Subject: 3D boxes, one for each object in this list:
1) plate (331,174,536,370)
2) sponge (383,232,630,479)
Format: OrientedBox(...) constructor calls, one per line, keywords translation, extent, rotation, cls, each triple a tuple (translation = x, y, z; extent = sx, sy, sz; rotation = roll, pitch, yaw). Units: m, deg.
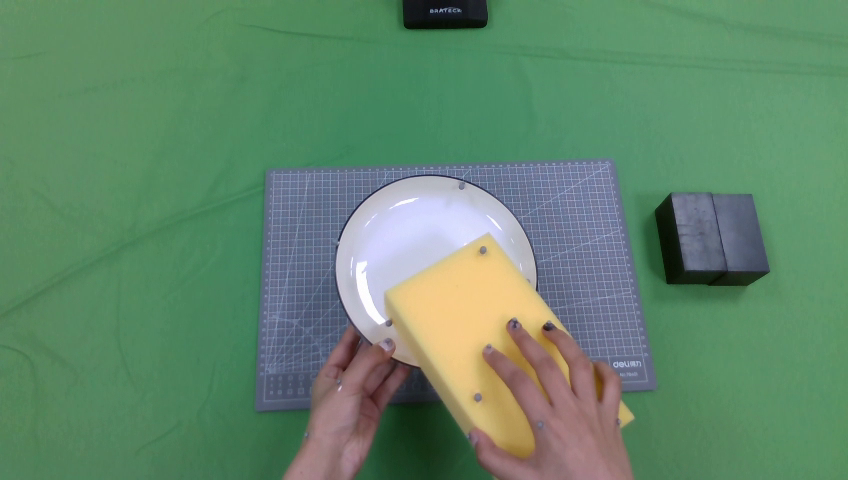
OrientedBox(translation=(0.011, 0.033, 0.621), extent=(0.210, 0.038, 0.207), rotation=(3, 70, -9), cls="plate")
OrientedBox(translation=(0.066, 0.107, 0.547), extent=(0.118, 0.061, 0.205), rotation=(-31, 69, -17), cls="sponge")
